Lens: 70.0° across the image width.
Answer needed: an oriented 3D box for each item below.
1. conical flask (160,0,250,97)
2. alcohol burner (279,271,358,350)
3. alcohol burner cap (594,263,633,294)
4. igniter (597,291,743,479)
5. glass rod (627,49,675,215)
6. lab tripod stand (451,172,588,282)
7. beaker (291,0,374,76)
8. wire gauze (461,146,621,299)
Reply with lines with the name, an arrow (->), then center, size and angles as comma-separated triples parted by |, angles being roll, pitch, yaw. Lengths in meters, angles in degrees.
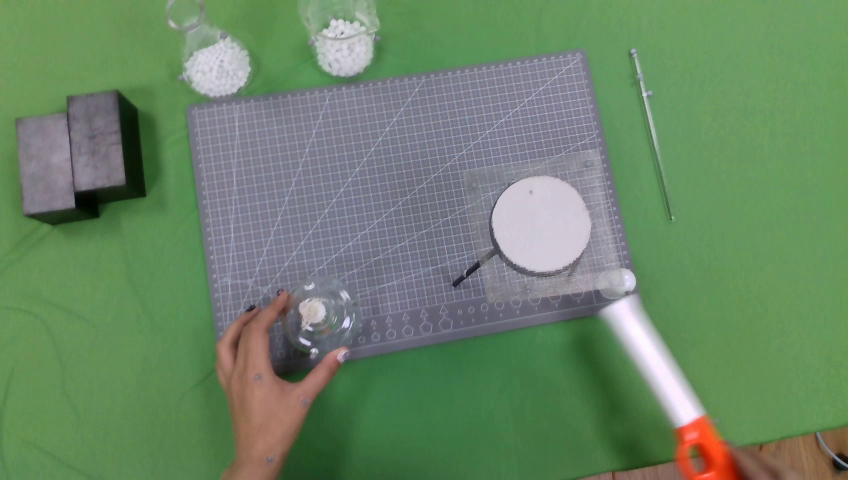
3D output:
conical flask -> -0.225, -0.201, 0.611 | 0.075, 0.122, 0.075 | 1, 81, -4
alcohol burner -> -0.103, 0.067, 0.581 | 0.078, 0.119, 0.077 | 0, 83, -3
alcohol burner cap -> 0.203, 0.039, 0.641 | 0.034, 0.048, 0.033 | 1, 82, -3
igniter -> 0.247, 0.177, 0.576 | 0.057, 0.025, 0.275 | -26, 80, -13
glass rod -> 0.257, -0.124, 0.687 | 0.008, 0.008, 0.199 | -11, 82, -5
lab tripod stand -> 0.094, -0.003, 0.594 | 0.148, 0.131, 0.148 | 0, 83, -3
beaker -> -0.089, -0.222, 0.634 | 0.084, 0.100, 0.074 | 26, 81, 0
wire gauze -> 0.102, -0.015, 0.528 | 0.125, 0.011, 0.121 | -8, 83, -4
